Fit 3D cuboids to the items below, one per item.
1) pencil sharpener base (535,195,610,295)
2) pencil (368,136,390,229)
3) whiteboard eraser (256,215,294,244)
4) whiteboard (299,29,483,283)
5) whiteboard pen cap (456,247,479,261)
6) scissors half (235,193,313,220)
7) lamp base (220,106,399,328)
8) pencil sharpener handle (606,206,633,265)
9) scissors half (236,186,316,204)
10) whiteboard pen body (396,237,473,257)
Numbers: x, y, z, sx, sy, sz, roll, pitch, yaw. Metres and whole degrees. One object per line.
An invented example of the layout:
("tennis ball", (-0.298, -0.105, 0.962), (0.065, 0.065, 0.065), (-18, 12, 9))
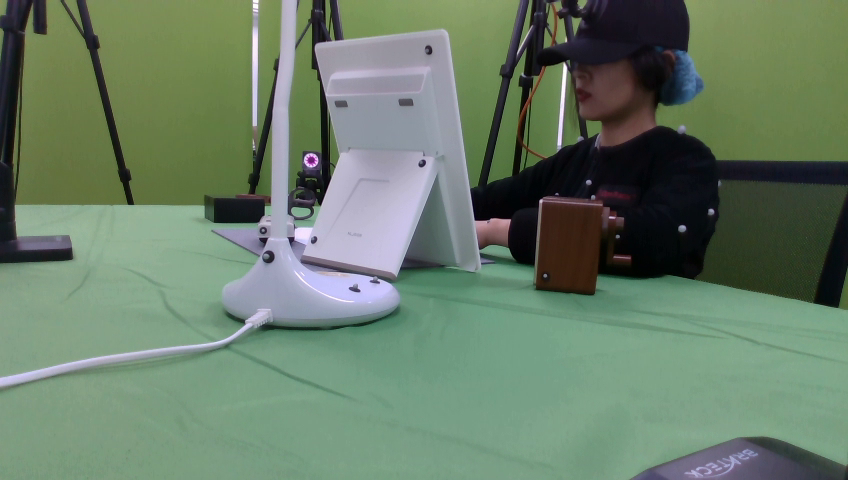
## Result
("pencil sharpener base", (0.172, 0.005, 0.695), (0.076, 0.107, 0.061), (5, 7, 16))
("pencil", (-0.081, -0.105, 1.076), (0.012, 0.193, 0.012), (7, -25, 4))
("whiteboard eraser", (-0.232, -0.016, 0.951), (0.056, 0.042, 0.112), (2, 7, -12))
("whiteboard", (-0.074, -0.082, 0.742), (0.216, 0.305, 0.144), (9, 30, 38))
("whiteboard pen cap", (0.060, 0.020, 0.851), (0.033, 0.018, 0.018), (10, 10, 37))
("scissors half", (-0.325, -0.077, 1.319), (0.176, 0.040, 0.012), (17, 6, -31))
("lamp base", (-0.101, -0.023, 0.531), (0.160, 0.180, 0.179), (4, 10, 10))
("pencil sharpener handle", (0.223, -0.004, 0.683), (0.030, 0.068, 0.036), (5, 21, 16))
("scissors half", (-0.320, -0.097, 1.316), (0.176, 0.040, 0.013), (-3, 11, -29))
("whiteboard pen body", (0.014, 0.012, 0.886), (0.140, 0.017, 0.017), (10, 10, 38))
